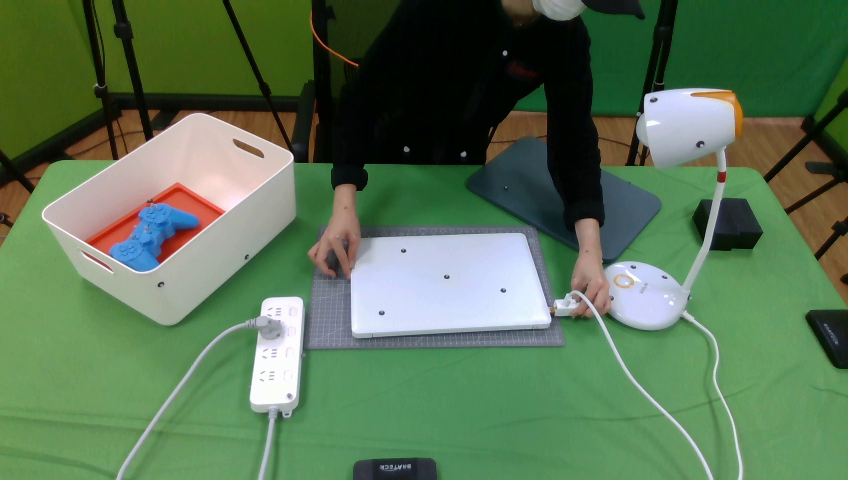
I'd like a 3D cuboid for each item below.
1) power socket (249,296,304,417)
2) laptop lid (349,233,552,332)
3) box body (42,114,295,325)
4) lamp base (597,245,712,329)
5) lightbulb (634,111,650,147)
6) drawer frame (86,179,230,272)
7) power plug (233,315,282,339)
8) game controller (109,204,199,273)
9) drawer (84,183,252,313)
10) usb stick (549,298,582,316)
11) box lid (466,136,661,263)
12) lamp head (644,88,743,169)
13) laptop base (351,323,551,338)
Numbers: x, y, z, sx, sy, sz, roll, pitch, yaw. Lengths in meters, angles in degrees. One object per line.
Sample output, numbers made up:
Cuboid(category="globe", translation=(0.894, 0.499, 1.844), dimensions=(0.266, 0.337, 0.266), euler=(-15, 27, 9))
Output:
Cuboid(category="power socket", translation=(-0.239, 0.182, 0.996), dimensions=(0.072, 0.033, 0.225), euler=(-2, 47, -5))
Cuboid(category="laptop lid", translation=(0.040, 0.071, 1.119), dimensions=(0.357, 0.013, 0.240), euler=(-1, 44, -5))
Cuboid(category="box body", translation=(-0.437, -0.046, 1.110), dimensions=(0.253, 0.161, 0.363), euler=(24, 49, 19))
Cuboid(category="lamp base", translation=(0.418, 0.050, 1.071), dimensions=(0.179, 0.181, 0.160), euler=(22, 49, 13))
Cuboid(category="lightbulb", translation=(0.348, -0.163, 0.852), dimensions=(0.059, 0.060, 0.107), euler=(-35, 19, -32))
Cuboid(category="drawer frame", translation=(-0.453, 0.010, 1.100), dimensions=(0.201, 0.083, 0.213), euler=(28, 54, 23))
Cuboid(category="power plug", translation=(-0.271, 0.144, 0.999), dimensions=(0.072, 0.053, 0.035), euler=(6, 47, 3))
Cuboid(category="game controller", translation=(-0.467, -0.005, 1.044), dimensions=(0.097, 0.052, 0.154), euler=(8, 45, 10))
Cuboid(category="drawer", translation=(-0.457, 0.008, 1.099), dimensions=(0.194, 0.073, 0.211), euler=(29, 49, 21))
Cuboid(category="usb stick", translation=(0.250, 0.121, 1.087), dimensions=(0.059, 0.027, 0.021), euler=(-5, 50, -5))
Cuboid(category="box lid", translation=(0.306, -0.102, 1.327), dimensions=(0.370, 0.015, 0.263), euler=(32, 52, 25))
Cuboid(category="lamp head", translation=(0.380, -0.161, 0.851), dimensions=(0.122, 0.113, 0.112), euler=(-4, 42, 25))
Cuboid(category="laptop base", translation=(0.040, 0.081, 1.126), dimensions=(0.355, 0.023, 0.234), euler=(-2, 43, -6))
